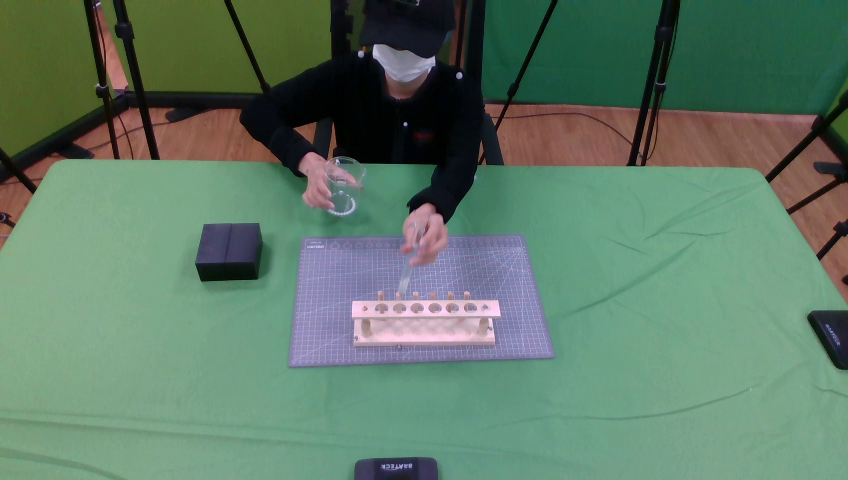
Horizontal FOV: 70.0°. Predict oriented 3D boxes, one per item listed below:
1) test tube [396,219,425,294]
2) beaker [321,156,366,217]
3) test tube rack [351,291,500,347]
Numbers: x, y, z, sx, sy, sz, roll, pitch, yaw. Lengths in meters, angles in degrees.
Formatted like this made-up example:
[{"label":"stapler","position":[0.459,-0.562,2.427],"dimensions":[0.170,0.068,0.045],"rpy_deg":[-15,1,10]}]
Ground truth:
[{"label":"test tube","position":[-0.021,0.029,0.925],"dimensions":[0.017,0.151,0.017],"rpy_deg":[10,40,-8]},{"label":"beaker","position":[-0.158,-0.100,1.164],"dimensions":[0.084,0.100,0.073],"rpy_deg":[-7,55,-19]},{"label":"test tube rack","position":[0.001,0.129,1.026],"dimensions":[0.242,0.085,0.066],"rpy_deg":[0,46,-4]}]
